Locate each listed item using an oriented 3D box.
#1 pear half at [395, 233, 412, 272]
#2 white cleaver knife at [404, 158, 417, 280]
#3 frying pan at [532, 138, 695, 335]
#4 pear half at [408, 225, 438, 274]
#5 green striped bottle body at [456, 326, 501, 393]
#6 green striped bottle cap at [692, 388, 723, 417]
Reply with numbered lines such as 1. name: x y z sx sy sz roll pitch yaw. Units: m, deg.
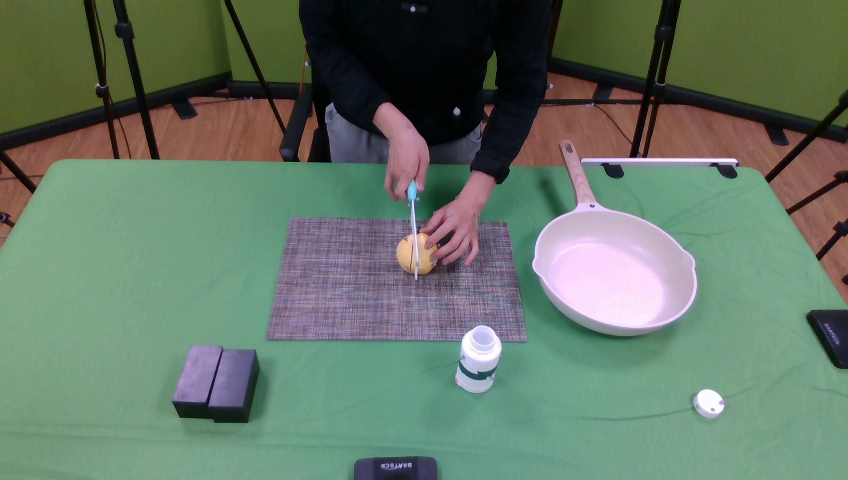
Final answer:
1. pear half: -0.038 0.020 1.124 0.031 0.088 0.070 -3 50 -4
2. white cleaver knife: -0.025 -0.048 1.108 0.021 0.066 0.284 2 45 -5
3. frying pan: 0.336 -0.024 1.190 0.307 0.103 0.484 -2 55 -7
4. pear half: -0.002 0.013 1.119 0.056 0.110 0.076 -2 50 -8
5. green striped bottle body: 0.086 0.185 0.959 0.063 0.120 0.063 2 46 -2
6. green striped bottle cap: 0.460 0.263 0.984 0.044 0.020 0.044 3 46 -3
